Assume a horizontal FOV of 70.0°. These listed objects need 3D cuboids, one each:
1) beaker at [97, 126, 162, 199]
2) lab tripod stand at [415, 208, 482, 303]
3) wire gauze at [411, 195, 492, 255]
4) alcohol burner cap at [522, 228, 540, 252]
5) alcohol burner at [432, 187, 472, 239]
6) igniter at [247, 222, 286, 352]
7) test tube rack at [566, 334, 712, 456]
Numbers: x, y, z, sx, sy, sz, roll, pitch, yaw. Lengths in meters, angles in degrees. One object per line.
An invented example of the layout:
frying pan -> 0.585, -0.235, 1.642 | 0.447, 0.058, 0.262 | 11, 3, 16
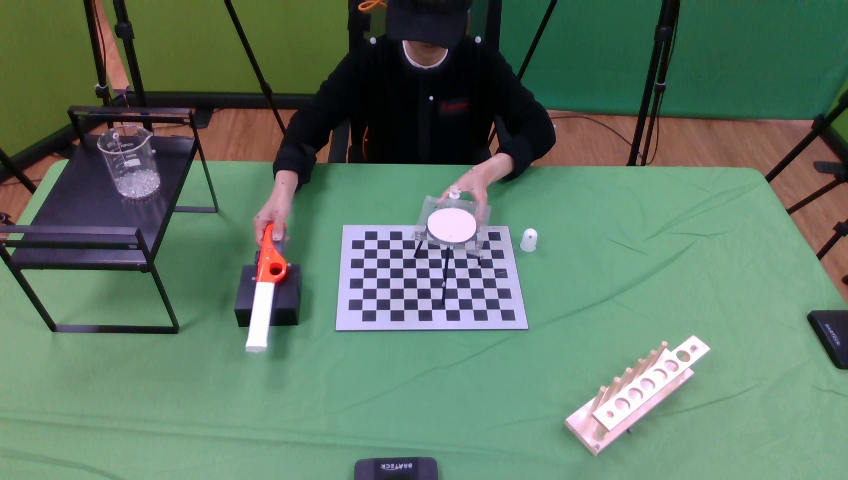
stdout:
beaker -> -0.468, -0.124, 0.979 | 0.084, 0.101, 0.073 | -25, 53, -26
lab tripod stand -> 0.043, 0.018, 1.097 | 0.148, 0.132, 0.147 | 0, 46, 0
wire gauze -> 0.049, -0.031, 1.051 | 0.125, 0.011, 0.121 | 11, 47, 9
alcohol burner cap -> 0.214, -0.003, 1.198 | 0.034, 0.048, 0.033 | 1, 46, -1
alcohol burner -> 0.056, -0.059, 1.178 | 0.078, 0.119, 0.077 | 3, 48, -3
igniter -> -0.269, 0.069, 1.041 | 0.057, 0.025, 0.274 | 5, 47, -10
test tube rack -> 0.339, 0.228, 0.950 | 0.242, 0.085, 0.066 | -26, 52, -26
